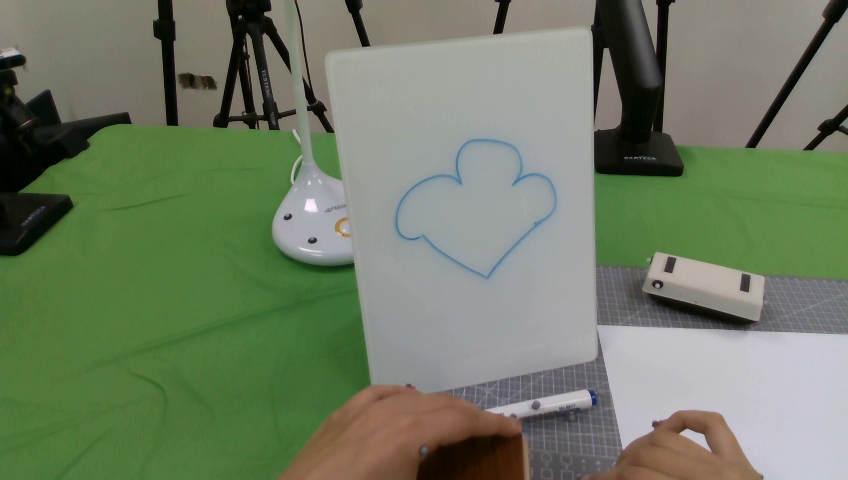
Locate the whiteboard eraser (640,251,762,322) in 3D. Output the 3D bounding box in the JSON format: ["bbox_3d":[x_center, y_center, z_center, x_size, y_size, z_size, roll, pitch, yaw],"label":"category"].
[{"bbox_3d":[0.288,0.048,0.631,0.112,0.042,0.055,15,40,21],"label":"whiteboard eraser"}]

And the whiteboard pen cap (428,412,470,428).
[{"bbox_3d":[0.021,0.155,0.507,0.033,0.018,0.018,-10,37,-10],"label":"whiteboard pen cap"}]

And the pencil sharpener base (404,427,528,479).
[{"bbox_3d":[0.027,0.181,0.404,0.076,0.108,0.061,1,37,4],"label":"pencil sharpener base"}]

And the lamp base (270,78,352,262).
[{"bbox_3d":[-0.120,-0.091,0.719,0.161,0.182,0.177,-28,41,-31],"label":"lamp base"}]

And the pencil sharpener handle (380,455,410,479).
[{"bbox_3d":[-0.025,0.171,0.397,0.030,0.068,0.035,1,26,4],"label":"pencil sharpener handle"}]

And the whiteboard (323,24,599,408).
[{"bbox_3d":[0.032,-0.030,0.576,0.217,0.307,0.143,-9,17,-9],"label":"whiteboard"}]

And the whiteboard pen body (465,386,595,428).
[{"bbox_3d":[0.079,0.145,0.516,0.141,0.017,0.017,-9,37,-9],"label":"whiteboard pen body"}]
